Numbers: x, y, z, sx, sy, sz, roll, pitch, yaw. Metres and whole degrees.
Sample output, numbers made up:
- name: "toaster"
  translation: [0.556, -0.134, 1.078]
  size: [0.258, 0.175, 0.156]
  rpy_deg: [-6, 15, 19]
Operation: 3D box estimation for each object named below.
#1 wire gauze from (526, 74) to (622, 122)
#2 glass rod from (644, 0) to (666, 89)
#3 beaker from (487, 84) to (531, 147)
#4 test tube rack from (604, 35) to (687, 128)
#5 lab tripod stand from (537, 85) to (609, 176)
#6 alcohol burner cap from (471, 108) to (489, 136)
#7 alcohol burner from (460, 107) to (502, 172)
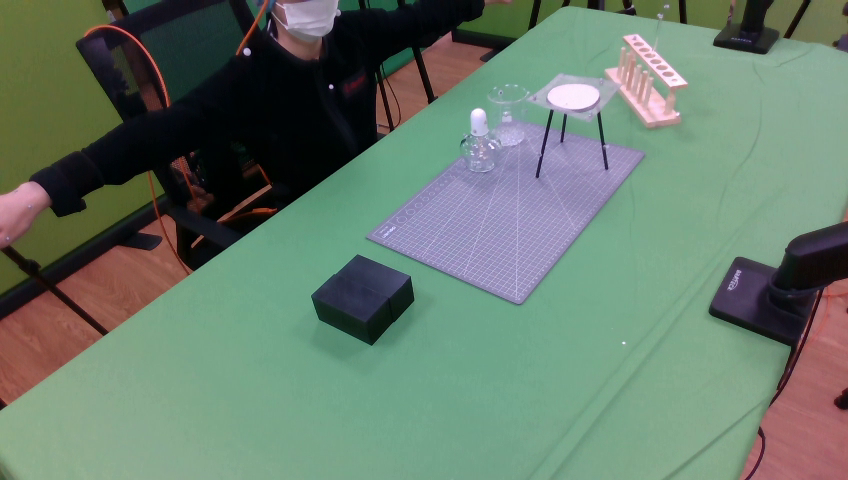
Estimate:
- name: "wire gauze"
  translation: [0.255, -0.248, 1.030]
  size: [0.124, 0.011, 0.122]
  rpy_deg: [24, 51, 32]
- name: "glass rod"
  translation: [0.465, -0.397, 1.215]
  size: [0.008, 0.200, 0.008]
  rpy_deg: [0, 39, 1]
- name: "beaker"
  translation: [0.163, -0.237, 1.161]
  size: [0.084, 0.101, 0.073]
  rpy_deg: [-10, 41, -3]
- name: "test tube rack"
  translation: [0.447, -0.330, 1.241]
  size: [0.067, 0.085, 0.241]
  rpy_deg: [-9, 41, -2]
- name: "lab tripod stand"
  translation: [0.259, -0.192, 1.068]
  size: [0.148, 0.132, 0.147]
  rpy_deg: [-4, 42, 4]
- name: "alcohol burner cap"
  translation: [0.098, -0.211, 1.074]
  size: [0.034, 0.048, 0.033]
  rpy_deg: [-6, 41, 6]
- name: "alcohol burner"
  translation: [0.102, -0.185, 1.098]
  size: [0.078, 0.119, 0.077]
  rpy_deg: [-6, 40, 5]
